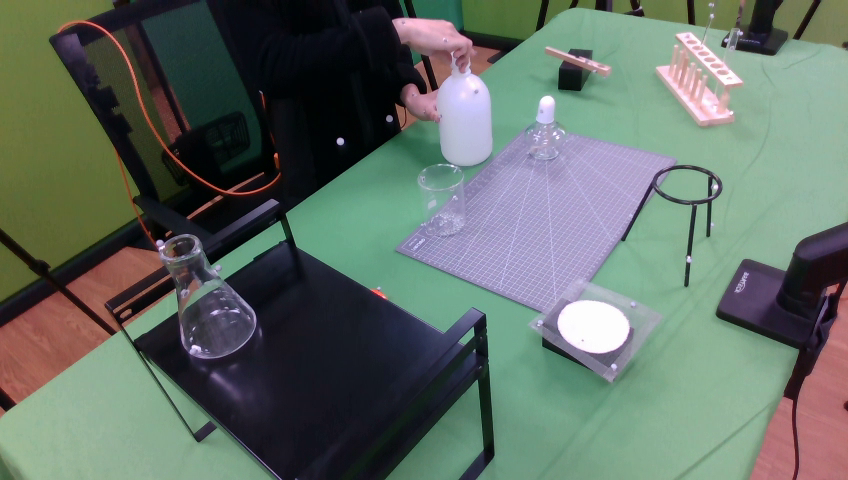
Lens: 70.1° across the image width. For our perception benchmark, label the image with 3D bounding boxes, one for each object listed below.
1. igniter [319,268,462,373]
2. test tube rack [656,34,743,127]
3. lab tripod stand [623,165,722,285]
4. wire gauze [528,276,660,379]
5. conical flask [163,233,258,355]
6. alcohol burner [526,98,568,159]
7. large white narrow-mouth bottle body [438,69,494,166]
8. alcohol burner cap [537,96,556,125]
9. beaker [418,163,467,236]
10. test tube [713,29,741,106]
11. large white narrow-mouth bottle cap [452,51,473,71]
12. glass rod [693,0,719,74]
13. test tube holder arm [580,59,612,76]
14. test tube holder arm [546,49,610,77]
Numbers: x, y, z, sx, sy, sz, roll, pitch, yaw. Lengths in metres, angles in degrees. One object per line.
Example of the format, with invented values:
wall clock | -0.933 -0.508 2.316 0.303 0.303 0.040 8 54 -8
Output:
igniter | -0.059 0.107 0.862 0.274 0.025 0.057 28 62 34
test tube rack | 0.553 -0.330 1.233 0.067 0.085 0.241 -7 40 2
lab tripod stand | 0.365 -0.030 0.875 0.148 0.132 0.147 -6 41 6
wire gauze | 0.213 0.103 0.763 0.124 0.011 0.122 30 52 35
conical flask | -0.216 0.051 0.601 0.075 0.122 0.075 -4 40 4
alcohol burner | 0.228 -0.210 1.118 0.078 0.119 0.077 -5 43 5
large white narrow-mouth bottle body | 0.077 -0.242 1.122 0.102 0.195 0.101 -4 40 4
alcohol burner cap | 0.223 -0.237 1.095 0.034 0.048 0.033 -1 42 1
beaker | 0.035 -0.065 0.990 0.073 0.101 0.084 24 49 32
test tube | 0.573 -0.324 1.146 0.017 0.151 0.017 -3 39 3
large white narrow-mouth bottle cap | 0.067 -0.314 1.059 0.038 0.024 0.037 -4 40 4
glass rod | 0.561 -0.401 1.214 0.008 0.200 0.008 -1 48 2
test tube holder arm | 0.363 -0.368 1.288 0.010 0.015 0.087 -27 43 -29
test tube holder arm | 0.332 -0.386 1.315 0.013 0.015 0.177 -26 42 -28
